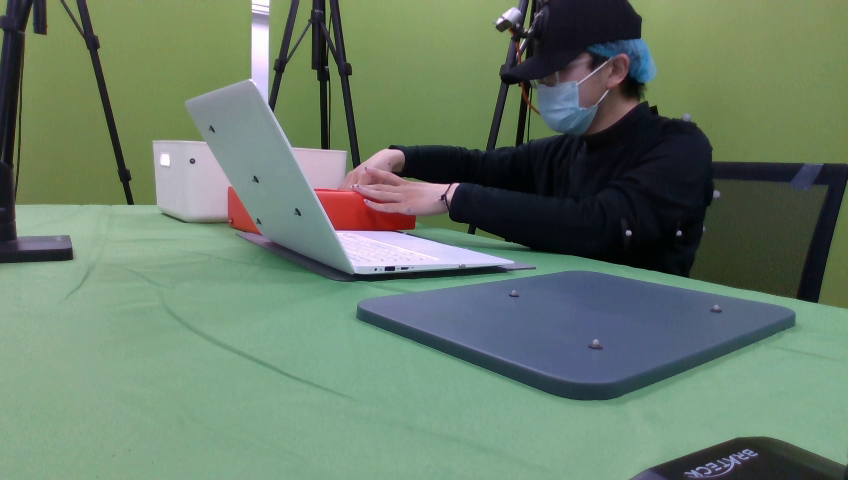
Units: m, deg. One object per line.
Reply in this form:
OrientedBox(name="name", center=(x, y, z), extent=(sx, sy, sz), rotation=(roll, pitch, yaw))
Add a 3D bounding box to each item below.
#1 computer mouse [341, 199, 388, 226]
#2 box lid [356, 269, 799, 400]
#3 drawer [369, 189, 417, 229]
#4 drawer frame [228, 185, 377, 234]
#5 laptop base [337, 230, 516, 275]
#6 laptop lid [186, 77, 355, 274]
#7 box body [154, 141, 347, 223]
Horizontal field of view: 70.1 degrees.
OrientedBox(name="computer mouse", center=(-0.120, -0.057, 1.224), extent=(0.063, 0.041, 0.116), rotation=(3, 16, -31))
OrientedBox(name="box lid", center=(0.152, 0.068, 0.565), extent=(0.374, 0.015, 0.262), rotation=(-4, 10, -41))
OrientedBox(name="drawer", center=(-0.152, -0.062, 1.194), extent=(0.213, 0.073, 0.193), rotation=(-4, 9, -36))
OrientedBox(name="drawer frame", center=(-0.229, -0.060, 1.136), extent=(0.215, 0.082, 0.200), rotation=(-4, 9, -38))
OrientedBox(name="laptop base", center=(-0.065, 0.014, 0.877), extent=(0.237, 0.023, 0.352), rotation=(2, 6, -32))
OrientedBox(name="laptop lid", center=(-0.211, -0.081, 0.772), extent=(0.013, 0.242, 0.355), rotation=(-35, 25, -23))
OrientedBox(name="box body", center=(-0.384, -0.132, 1.346), extent=(0.366, 0.160, 0.253), rotation=(-3, 9, -36))
